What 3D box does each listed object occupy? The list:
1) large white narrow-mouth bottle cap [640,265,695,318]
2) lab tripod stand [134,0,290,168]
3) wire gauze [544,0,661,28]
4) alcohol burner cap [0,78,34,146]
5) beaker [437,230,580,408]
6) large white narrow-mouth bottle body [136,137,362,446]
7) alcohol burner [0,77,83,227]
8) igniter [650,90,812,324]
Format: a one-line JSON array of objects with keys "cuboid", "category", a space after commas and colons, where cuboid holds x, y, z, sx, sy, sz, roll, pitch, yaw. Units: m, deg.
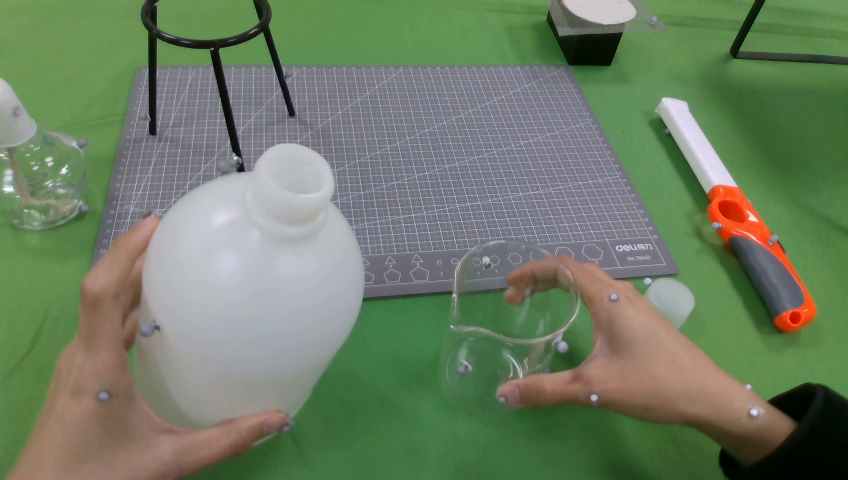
[{"cuboid": [0.188, 0.040, 0.468, 0.038, 0.024, 0.037, 4, 49, -4], "category": "large white narrow-mouth bottle cap"}, {"cuboid": [-0.162, -0.125, 0.480, 0.148, 0.132, 0.147, 5, 50, -6], "category": "lab tripod stand"}, {"cuboid": [0.186, -0.271, 0.675, 0.122, 0.011, 0.123, -2, 51, -12], "category": "wire gauze"}, {"cuboid": [-0.286, -0.089, 0.402, 0.034, 0.048, 0.033, 3, 56, -4], "category": "alcohol burner cap"}, {"cuboid": [0.046, 0.056, 0.383, 0.084, 0.101, 0.073, -26, 57, -26], "category": "beaker"}, {"cuboid": [-0.086, 0.026, 0.300, 0.102, 0.195, 0.101, 14, 50, -18], "category": "large white narrow-mouth bottle body"}, {"cuboid": [-0.290, -0.067, 0.430, 0.078, 0.120, 0.077, 5, 48, -5], "category": "alcohol burner"}, {"cuboid": [0.267, -0.043, 0.544, 0.057, 0.025, 0.273, 5, 49, -17], "category": "igniter"}]
